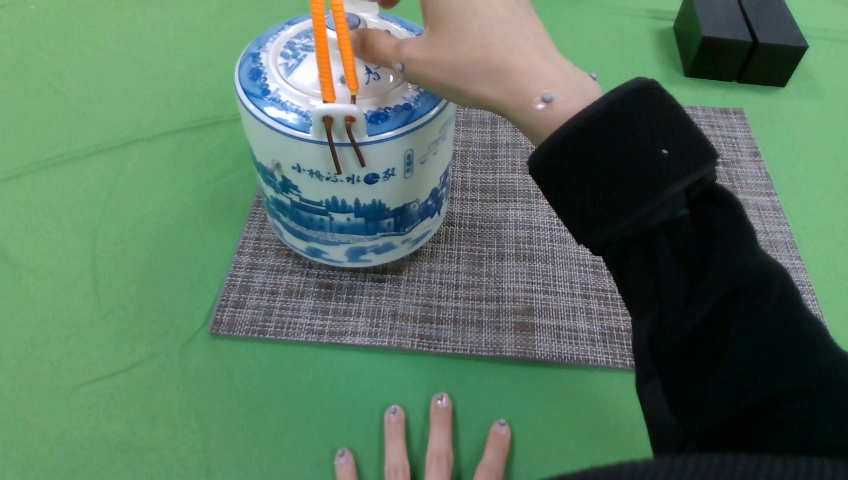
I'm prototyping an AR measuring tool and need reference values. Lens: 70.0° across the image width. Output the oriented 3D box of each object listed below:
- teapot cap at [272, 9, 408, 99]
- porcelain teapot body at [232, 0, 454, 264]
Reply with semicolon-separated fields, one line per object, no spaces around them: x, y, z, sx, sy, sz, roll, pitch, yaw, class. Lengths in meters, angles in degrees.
-0.053;-0.120;0.382;0.085;0.044;0.084;0;50;0;teapot cap
-0.054;-0.118;0.431;0.145;0.227;0.203;0;51;-3;porcelain teapot body
